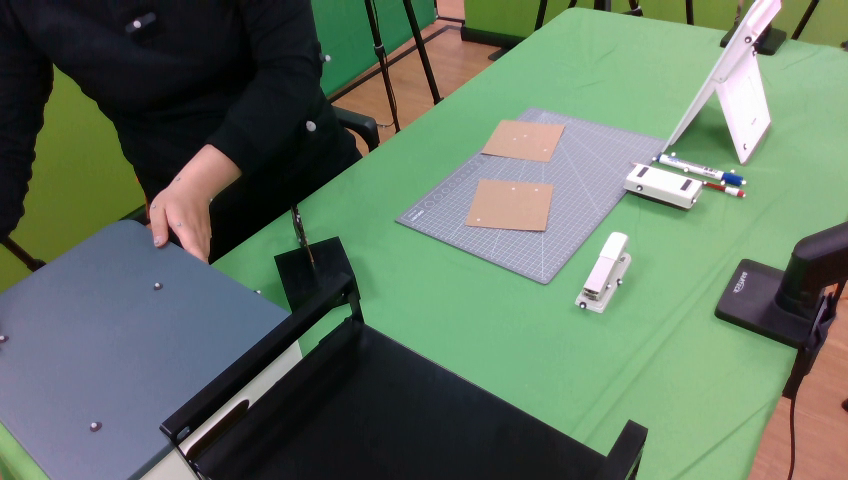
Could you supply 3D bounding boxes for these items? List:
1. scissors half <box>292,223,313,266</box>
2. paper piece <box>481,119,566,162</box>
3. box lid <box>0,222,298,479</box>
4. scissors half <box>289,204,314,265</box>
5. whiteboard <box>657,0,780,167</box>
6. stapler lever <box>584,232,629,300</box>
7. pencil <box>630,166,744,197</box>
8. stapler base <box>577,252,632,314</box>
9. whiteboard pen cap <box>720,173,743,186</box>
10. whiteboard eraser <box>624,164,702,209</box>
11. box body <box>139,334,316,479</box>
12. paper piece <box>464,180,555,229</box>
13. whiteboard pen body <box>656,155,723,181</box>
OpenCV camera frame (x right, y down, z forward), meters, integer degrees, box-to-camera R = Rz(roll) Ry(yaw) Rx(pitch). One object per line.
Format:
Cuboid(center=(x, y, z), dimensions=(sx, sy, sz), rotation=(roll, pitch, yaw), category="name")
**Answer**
Cuboid(center=(-0.188, 0.007, 0.955), dimensions=(0.013, 0.040, 0.174), rotation=(-21, 23, -11), category="scissors half")
Cuboid(center=(0.197, -0.199, 1.188), dimensions=(0.135, 0.004, 0.135), rotation=(10, 44, 22), category="paper piece")
Cuboid(center=(-0.346, 0.106, 0.679), dimensions=(0.368, 0.015, 0.264), rotation=(23, 49, 31), category="box lid")
Cuboid(center=(-0.191, -0.010, 0.944), dimensions=(0.013, 0.040, 0.173), rotation=(-16, 38, -14), category="scissors half")
Cuboid(center=(0.571, -0.272, 1.038), dimensions=(0.143, 0.306, 0.218), rotation=(37, 54, 17), category="whiteboard")
Cuboid(center=(0.261, 0.034, 0.858), dimensions=(0.026, 0.040, 0.118), rotation=(16, 46, 30), category="stapler lever")
Cuboid(center=(0.447, -0.103, 1.039), dimensions=(0.192, 0.012, 0.012), rotation=(21, 48, 30), category="pencil")
Cuboid(center=(0.264, 0.051, 0.875), dimensions=(0.041, 0.024, 0.131), rotation=(16, 47, 30), category="stapler base")
Cuboid(center=(0.519, -0.103, 1.020), dimensions=(0.033, 0.018, 0.018), rotation=(23, 49, 30), category="whiteboard pen cap")
Cuboid(center=(0.396, -0.087, 1.003), dimensions=(0.112, 0.042, 0.056), rotation=(22, 48, 31), category="whiteboard eraser")
Cuboid(center=(-0.340, 0.162, 0.727), dimensions=(0.361, 0.161, 0.255), rotation=(23, 48, 31), category="box body")
Cuboid(center=(0.149, -0.062, 1.035), dimensions=(0.137, 0.009, 0.136), rotation=(5, 38, 16), category="paper piece")
Cuboid(center=(0.475, -0.122, 1.052), dimensions=(0.139, 0.017, 0.017), rotation=(24, 50, 31), category="whiteboard pen body")
